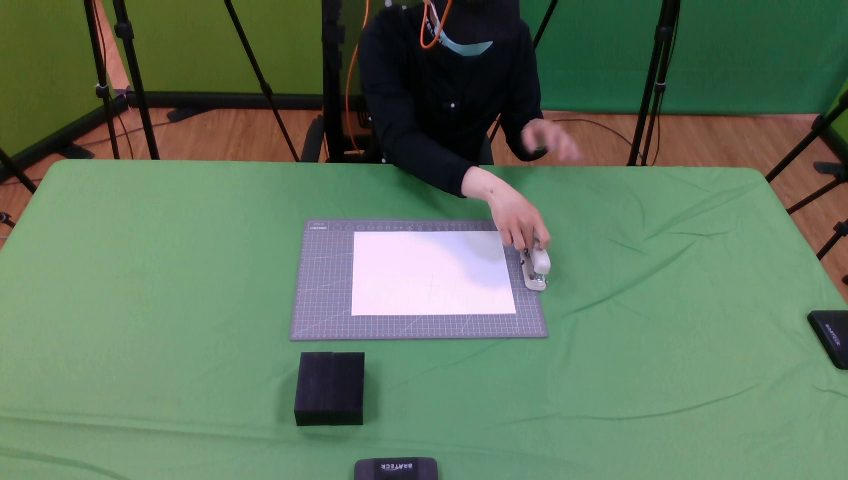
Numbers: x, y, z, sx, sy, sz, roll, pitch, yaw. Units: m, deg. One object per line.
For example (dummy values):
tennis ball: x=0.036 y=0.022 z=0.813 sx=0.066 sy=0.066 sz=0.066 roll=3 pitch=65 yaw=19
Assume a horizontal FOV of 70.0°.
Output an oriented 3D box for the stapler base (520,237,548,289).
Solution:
stapler base: x=0.214 y=0.038 z=1.167 sx=0.041 sy=0.024 sz=0.129 roll=9 pitch=44 yaw=-10

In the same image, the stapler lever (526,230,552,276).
stapler lever: x=0.218 y=0.019 z=1.151 sx=0.027 sy=0.040 sz=0.117 roll=9 pitch=44 yaw=-10
